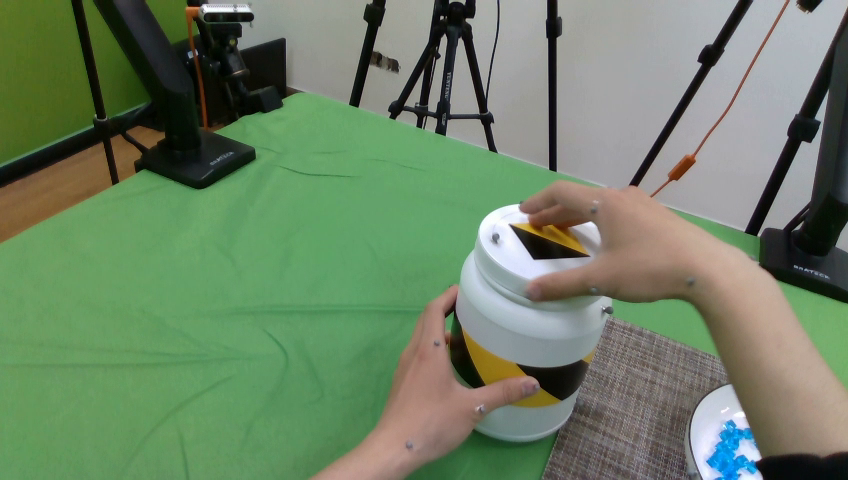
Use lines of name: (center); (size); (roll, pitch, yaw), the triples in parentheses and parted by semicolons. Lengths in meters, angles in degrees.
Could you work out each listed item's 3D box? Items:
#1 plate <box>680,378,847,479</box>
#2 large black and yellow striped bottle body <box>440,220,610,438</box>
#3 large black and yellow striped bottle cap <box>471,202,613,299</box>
plate: (0.324, 0.211, 0.524); (0.208, 0.039, 0.205); (6, 36, -4)
large black and yellow striped bottle body: (0.089, 0.073, 0.546); (0.131, 0.185, 0.129); (5, 37, -3)
large black and yellow striped bottle cap: (0.097, 0.005, 0.496); (0.115, 0.019, 0.114); (7, 35, -4)
